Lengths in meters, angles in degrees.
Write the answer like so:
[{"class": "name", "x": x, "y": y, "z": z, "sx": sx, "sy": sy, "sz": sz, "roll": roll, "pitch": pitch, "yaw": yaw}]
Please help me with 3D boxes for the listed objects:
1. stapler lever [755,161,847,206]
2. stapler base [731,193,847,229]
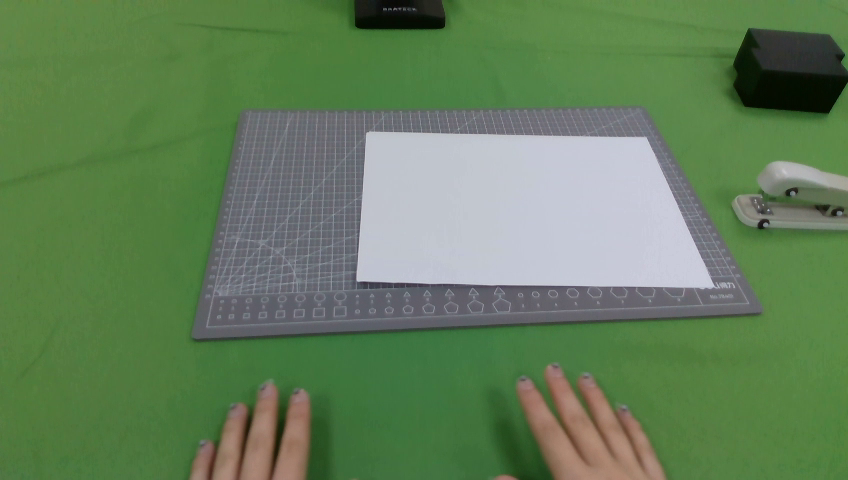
[{"class": "stapler lever", "x": 0.365, "y": -0.050, "z": 0.557, "sx": 0.118, "sy": 0.040, "sz": 0.026, "roll": 2, "pitch": 49, "yaw": -3}, {"class": "stapler base", "x": 0.362, "y": -0.033, "z": 0.574, "sx": 0.131, "sy": 0.024, "sz": 0.041, "roll": 2, "pitch": 49, "yaw": -4}]
